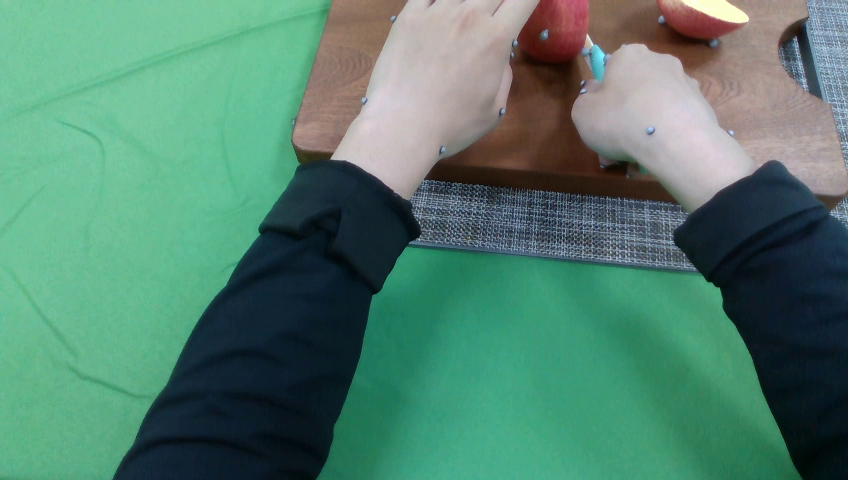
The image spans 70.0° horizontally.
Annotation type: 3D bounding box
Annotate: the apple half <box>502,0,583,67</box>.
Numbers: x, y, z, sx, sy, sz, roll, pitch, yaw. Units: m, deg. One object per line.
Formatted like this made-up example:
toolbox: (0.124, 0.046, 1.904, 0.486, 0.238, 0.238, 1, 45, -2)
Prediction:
apple half: (0.087, -0.174, 0.463, 0.053, 0.075, 0.080, -10, 64, 3)

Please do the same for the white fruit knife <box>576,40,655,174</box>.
white fruit knife: (0.125, -0.128, 0.451, 0.016, 0.028, 0.205, -14, 51, 0)

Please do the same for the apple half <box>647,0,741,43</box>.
apple half: (0.204, -0.177, 0.480, 0.081, 0.033, 0.080, 13, 45, -13)
